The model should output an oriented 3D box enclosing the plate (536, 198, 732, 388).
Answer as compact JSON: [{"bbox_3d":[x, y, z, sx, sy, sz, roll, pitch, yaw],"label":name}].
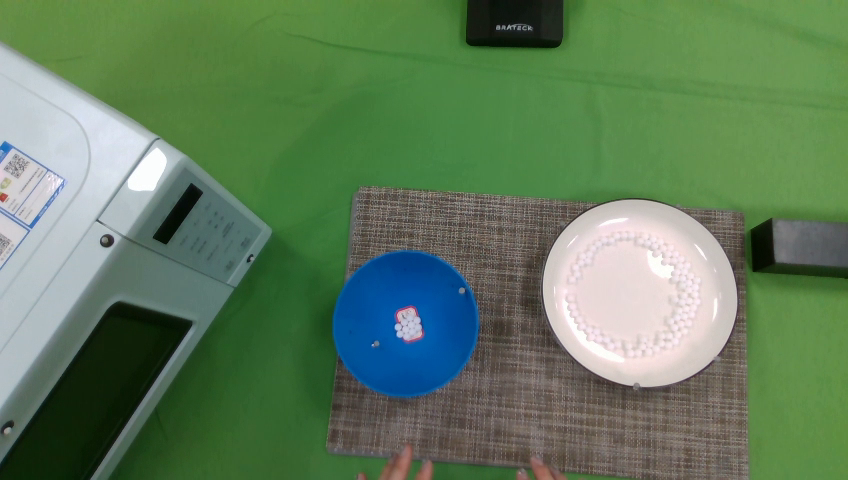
[{"bbox_3d":[0.226,0.057,0.667,0.207,0.039,0.206,0,77,2],"label":"plate"}]

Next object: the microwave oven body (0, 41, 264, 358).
[{"bbox_3d":[-0.428,0.061,0.580,0.325,0.261,0.441,30,81,8],"label":"microwave oven body"}]

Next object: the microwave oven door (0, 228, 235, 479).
[{"bbox_3d":[-0.325,0.167,0.546,0.039,0.245,0.355,30,80,10],"label":"microwave oven door"}]

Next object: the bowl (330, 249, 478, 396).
[{"bbox_3d":[-0.019,0.091,0.649,0.151,0.077,0.150,-1,77,3],"label":"bowl"}]

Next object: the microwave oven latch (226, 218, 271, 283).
[{"bbox_3d":[-0.205,0.008,0.682,0.030,0.029,0.079,32,81,9],"label":"microwave oven latch"}]
